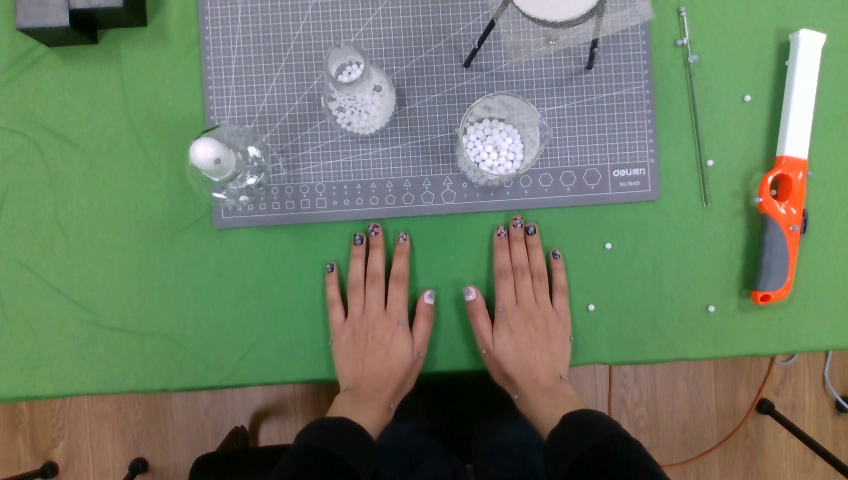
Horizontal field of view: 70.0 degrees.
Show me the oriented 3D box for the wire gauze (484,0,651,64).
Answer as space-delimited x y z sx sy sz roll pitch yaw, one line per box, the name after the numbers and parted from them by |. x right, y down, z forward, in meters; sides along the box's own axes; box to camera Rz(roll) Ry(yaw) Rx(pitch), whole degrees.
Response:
0.104 -0.214 0.480 0.125 0.011 0.121 -20 92 0 | wire gauze

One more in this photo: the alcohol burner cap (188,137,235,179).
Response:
-0.182 -0.072 0.514 0.034 0.048 0.034 0 87 -6 | alcohol burner cap

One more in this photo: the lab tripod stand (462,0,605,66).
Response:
0.103 -0.212 0.547 0.148 0.131 0.148 0 91 -1 | lab tripod stand

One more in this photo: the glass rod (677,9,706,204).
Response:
0.271 -0.136 0.616 0.008 0.008 0.199 -7 90 -2 | glass rod

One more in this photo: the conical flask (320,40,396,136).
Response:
-0.065 -0.142 0.549 0.075 0.122 0.075 0 89 -1 | conical flask

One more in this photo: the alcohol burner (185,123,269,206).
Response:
-0.183 -0.070 0.550 0.078 0.119 0.078 0 91 -3 | alcohol burner

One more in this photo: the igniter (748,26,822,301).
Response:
0.363 -0.074 0.608 0.057 0.025 0.276 8 90 -11 | igniter

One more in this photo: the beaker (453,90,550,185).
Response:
0.066 -0.090 0.563 0.084 0.100 0.074 -6 90 -2 | beaker
